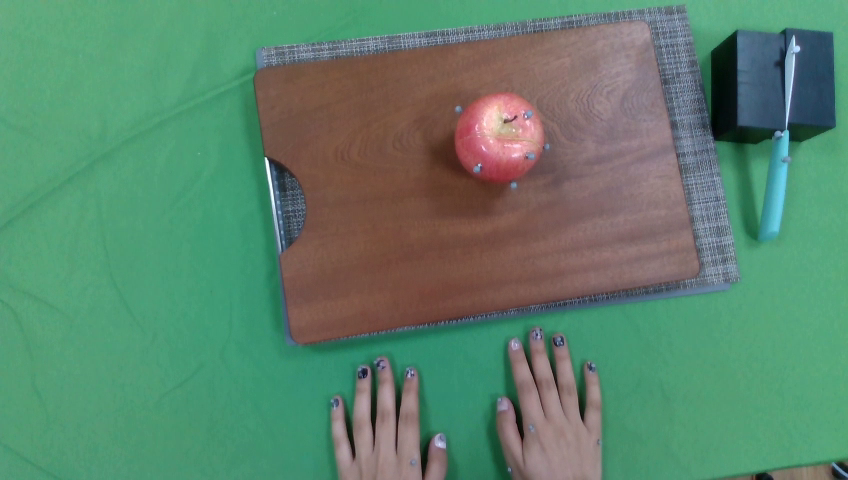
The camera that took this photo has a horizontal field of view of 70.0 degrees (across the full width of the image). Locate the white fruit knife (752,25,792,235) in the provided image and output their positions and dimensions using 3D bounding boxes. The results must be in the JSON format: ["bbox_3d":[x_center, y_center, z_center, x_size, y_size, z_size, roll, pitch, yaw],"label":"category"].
[{"bbox_3d":[0.350,-0.107,0.605,0.016,0.027,0.208,2,98,-5],"label":"white fruit knife"}]

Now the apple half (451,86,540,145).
[{"bbox_3d":[0.066,-0.111,0.559,0.081,0.075,0.053,4,79,0],"label":"apple half"}]

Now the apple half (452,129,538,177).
[{"bbox_3d":[0.063,-0.073,0.553,0.081,0.081,0.032,5,79,-4],"label":"apple half"}]
